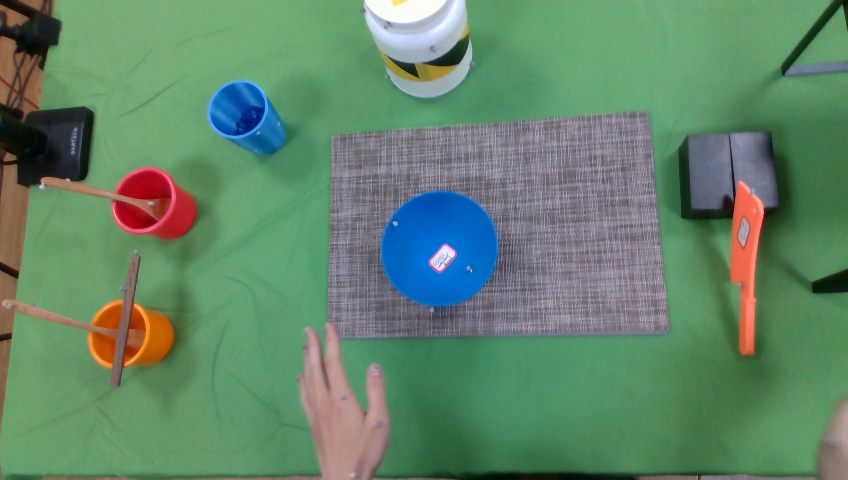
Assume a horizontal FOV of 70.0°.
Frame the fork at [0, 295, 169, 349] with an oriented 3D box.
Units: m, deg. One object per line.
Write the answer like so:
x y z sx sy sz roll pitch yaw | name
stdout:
-0.447 0.109 0.809 0.209 0.018 0.028 24 90 -32 | fork

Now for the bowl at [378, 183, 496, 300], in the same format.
0.021 0.008 0.793 0.151 0.077 0.150 -2 78 8 | bowl

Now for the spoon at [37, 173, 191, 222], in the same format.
-0.427 -0.065 0.846 0.195 0.021 0.041 17 76 -32 | spoon

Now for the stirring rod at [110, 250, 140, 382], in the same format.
-0.396 0.099 0.802 0.014 0.006 0.175 3 79 6 | stirring rod

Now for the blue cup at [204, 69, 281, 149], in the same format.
-0.249 -0.175 0.863 0.092 0.100 0.092 -1 80 7 | blue cup

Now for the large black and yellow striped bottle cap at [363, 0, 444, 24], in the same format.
-0.024 -0.317 0.729 0.115 0.019 0.114 -2 79 9 | large black and yellow striped bottle cap

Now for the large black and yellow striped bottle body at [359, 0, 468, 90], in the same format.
-0.012 -0.299 0.810 0.130 0.185 0.130 -2 78 8 | large black and yellow striped bottle body

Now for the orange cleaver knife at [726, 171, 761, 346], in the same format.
0.385 0.024 0.736 0.012 0.077 0.212 -6 107 4 | orange cleaver knife
